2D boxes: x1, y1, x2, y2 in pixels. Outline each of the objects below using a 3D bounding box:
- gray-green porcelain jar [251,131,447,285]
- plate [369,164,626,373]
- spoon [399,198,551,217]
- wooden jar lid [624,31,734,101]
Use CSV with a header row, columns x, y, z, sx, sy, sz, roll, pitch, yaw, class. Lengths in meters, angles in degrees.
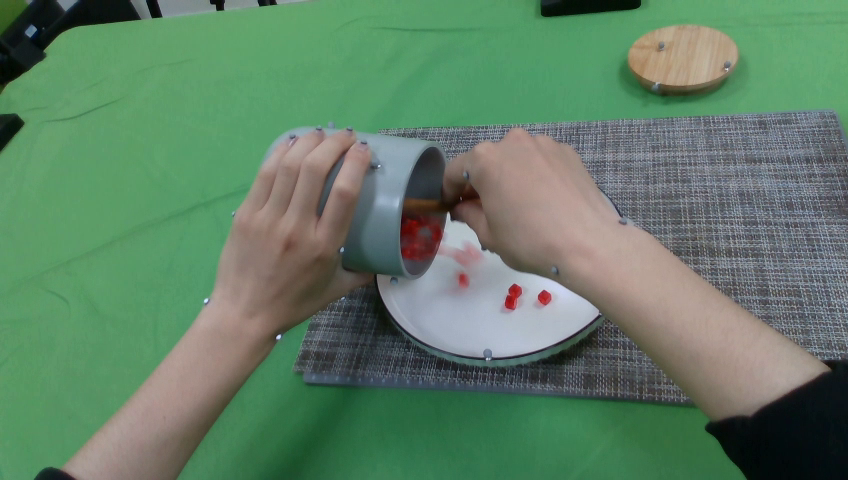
x,y,z,sx,sy,sz,roll,pitch,yaw,class
-0.059,-0.028,0.469,0.126,0.107,0.105,11,54,18,gray-green porcelain jar
0.059,0.021,0.505,0.207,0.039,0.205,-7,49,9,plate
0.003,-0.026,0.456,0.193,0.022,0.041,2,79,27,spoon
0.268,-0.184,0.640,0.108,0.021,0.107,-7,50,9,wooden jar lid
